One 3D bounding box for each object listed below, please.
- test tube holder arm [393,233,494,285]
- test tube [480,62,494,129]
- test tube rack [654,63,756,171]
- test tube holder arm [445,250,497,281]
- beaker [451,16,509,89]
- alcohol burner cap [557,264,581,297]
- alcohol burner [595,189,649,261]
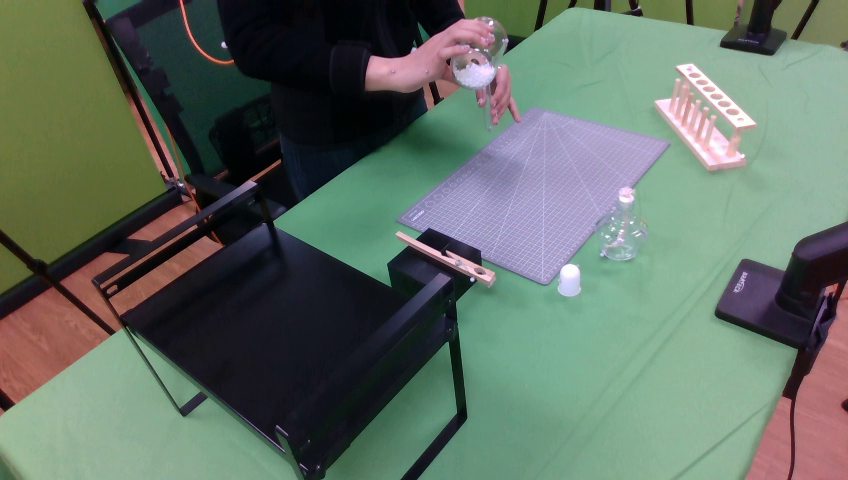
[{"bbox_3d":[0.024,0.025,0.871,0.177,0.015,0.013,23,57,31],"label":"test tube holder arm"},{"bbox_3d":[0.109,-0.246,1.043,0.017,0.151,0.017,-4,57,7],"label":"test tube"},{"bbox_3d":[0.510,-0.233,1.120,0.067,0.085,0.241,-8,41,-1],"label":"test tube rack"},{"bbox_3d":[0.063,0.036,0.850,0.087,0.015,0.010,23,58,31],"label":"test tube holder arm"},{"bbox_3d":[0.084,-0.281,0.923,0.074,0.084,0.100,9,45,13],"label":"beaker"},{"bbox_3d":[0.209,0.055,0.866,0.034,0.048,0.033,-4,42,4],"label":"alcohol burner cap"},{"bbox_3d":[0.294,-0.028,0.894,0.078,0.119,0.077,-4,43,4],"label":"alcohol burner"}]
